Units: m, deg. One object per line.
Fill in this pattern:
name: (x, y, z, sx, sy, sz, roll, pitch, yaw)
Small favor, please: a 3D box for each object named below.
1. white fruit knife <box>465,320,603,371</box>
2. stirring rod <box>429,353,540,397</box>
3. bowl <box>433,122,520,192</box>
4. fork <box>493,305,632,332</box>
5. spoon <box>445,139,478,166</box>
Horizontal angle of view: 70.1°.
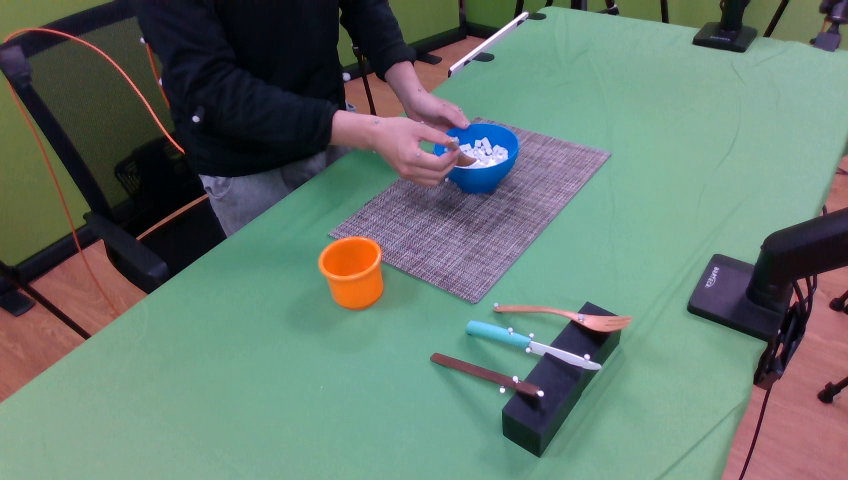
white fruit knife: (0.128, 0.129, 0.749, 0.205, 0.027, 0.016, 10, 44, 43)
stirring rod: (0.069, 0.162, 0.737, 0.174, 0.006, 0.014, 8, 41, 47)
bowl: (0.093, -0.137, 1.064, 0.151, 0.077, 0.150, -4, 41, 4)
fork: (0.171, 0.097, 0.783, 0.205, 0.019, 0.028, 4, 40, 43)
spoon: (0.051, -0.133, 0.910, 0.041, 0.194, 0.021, -5, 85, 12)
